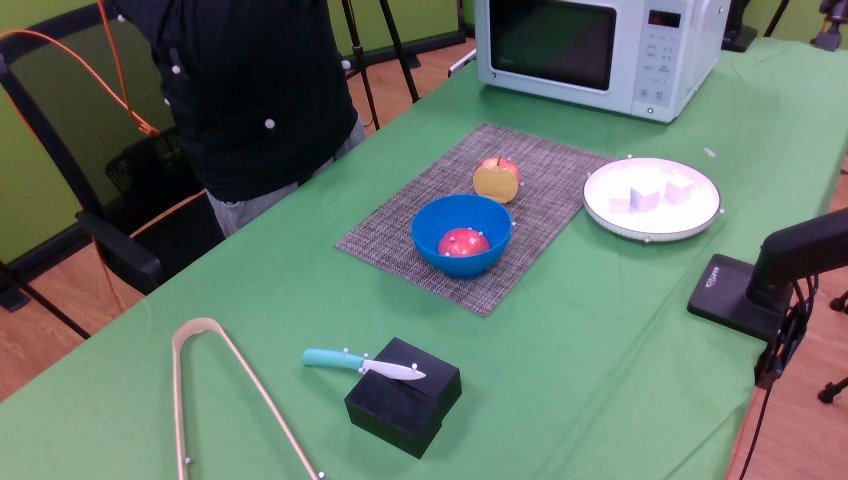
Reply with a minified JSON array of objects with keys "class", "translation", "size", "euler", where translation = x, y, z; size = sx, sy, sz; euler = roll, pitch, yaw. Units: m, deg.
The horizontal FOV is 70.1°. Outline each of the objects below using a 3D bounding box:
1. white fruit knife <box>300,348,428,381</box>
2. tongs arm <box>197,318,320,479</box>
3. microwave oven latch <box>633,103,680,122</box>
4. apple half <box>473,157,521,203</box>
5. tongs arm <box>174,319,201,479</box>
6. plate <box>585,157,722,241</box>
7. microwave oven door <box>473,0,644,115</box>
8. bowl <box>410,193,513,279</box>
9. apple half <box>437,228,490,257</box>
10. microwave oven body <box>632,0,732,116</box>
[{"class":"white fruit knife","translation":[-0.079,0.154,0.748],"size":[0.206,0.027,0.016],"euler":[1,20,34]},{"class":"tongs arm","translation":[-0.200,0.207,0.751],"size":[0.028,0.028,0.384],"euler":[-31,45,-22]},{"class":"microwave oven latch","translation":[0.444,-0.249,1.157],"size":[0.078,0.029,0.030],"euler":[21,48,30]},{"class":"apple half","translation":[0.128,-0.107,1.030],"size":[0.080,0.075,0.053],"euler":[4,38,19]},{"class":"tongs arm","translation":[-0.272,0.234,0.723],"size":[0.051,0.026,0.381],"euler":[-19,40,-15]},{"class":"plate","translation":[0.367,-0.063,0.979],"size":[0.207,0.039,0.206],"euler":[-4,40,4]},{"class":"microwave oven door","translation":[0.257,-0.396,1.199],"size":[0.353,0.245,0.039],"euler":[21,48,29]},{"class":"bowl","translation":[0.058,0.005,0.905],"size":[0.151,0.077,0.150],"euler":[-4,40,4]},{"class":"apple half","translation":[0.056,0.002,0.901],"size":[0.081,0.033,0.081],"euler":[-3,41,3]},{"class":"microwave oven body","translation":[0.377,-0.462,1.267],"size":[0.438,0.261,0.327],"euler":[21,48,30]}]
